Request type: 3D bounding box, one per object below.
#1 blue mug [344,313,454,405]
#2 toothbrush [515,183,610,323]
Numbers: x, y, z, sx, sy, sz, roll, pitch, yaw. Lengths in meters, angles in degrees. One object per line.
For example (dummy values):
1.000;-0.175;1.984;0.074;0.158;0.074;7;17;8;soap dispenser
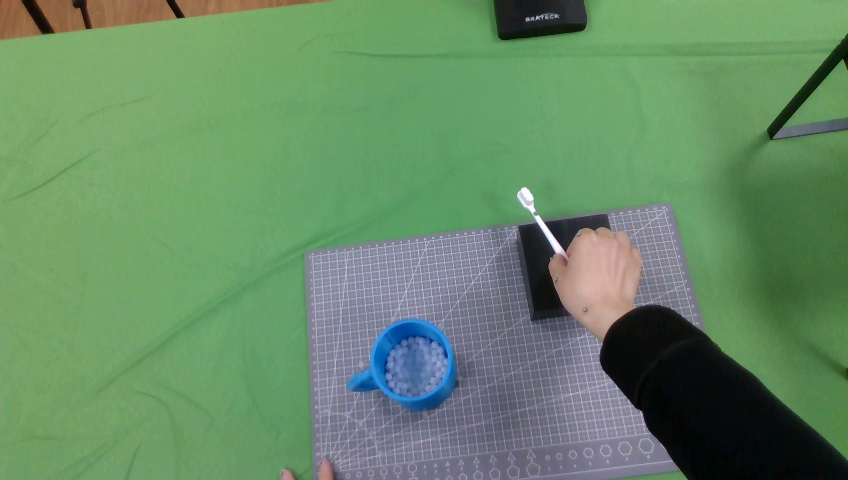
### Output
-0.027;0.133;0.639;0.116;0.106;0.081;-16;70;-1;blue mug
0.151;0.011;0.662;0.014;0.017;0.180;-22;71;-22;toothbrush
